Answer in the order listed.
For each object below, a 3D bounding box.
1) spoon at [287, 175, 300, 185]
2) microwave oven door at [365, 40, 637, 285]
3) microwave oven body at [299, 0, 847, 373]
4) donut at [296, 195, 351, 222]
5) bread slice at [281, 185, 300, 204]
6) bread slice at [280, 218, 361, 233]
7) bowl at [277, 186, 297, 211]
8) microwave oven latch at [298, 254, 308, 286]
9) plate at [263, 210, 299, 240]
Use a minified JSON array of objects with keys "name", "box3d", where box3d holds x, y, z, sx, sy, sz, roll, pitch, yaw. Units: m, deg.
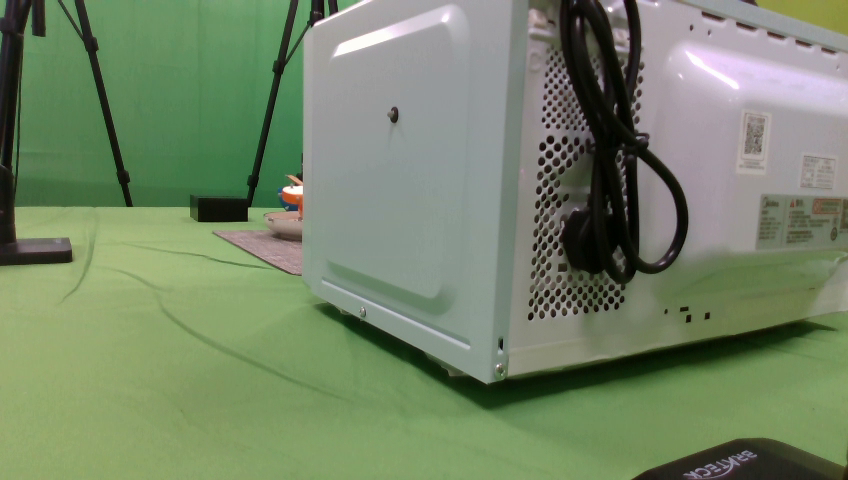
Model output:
[{"name":"spoon","box3d":[-0.262,-0.111,1.342,0.042,0.021,0.192,-6,32,-34]},{"name":"microwave oven door","box3d":[0.106,-0.081,0.693,0.358,0.243,0.039,-2,9,-30]},{"name":"microwave oven body","box3d":[0.152,-0.055,0.542,0.444,0.260,0.324,-2,7,-33]},{"name":"donut","box3d":[-0.179,-0.057,1.080,0.099,0.048,0.099,2,4,0]},{"name":"bread slice","box3d":[-0.185,-0.082,1.070,0.132,0.019,0.104,-2,14,-18]},{"name":"bread slice","box3d":[-0.187,-0.026,1.075,0.135,0.018,0.106,-2,7,-22]},{"name":"bowl","box3d":[-0.241,-0.073,1.302,0.151,0.077,0.151,2,7,0]},{"name":"microwave oven latch","box3d":[-0.081,0.028,0.582,0.079,0.029,0.030,-2,7,-33]},{"name":"plate","box3d":[-0.180,-0.025,1.079,0.208,0.039,0.207,3,7,0]}]
